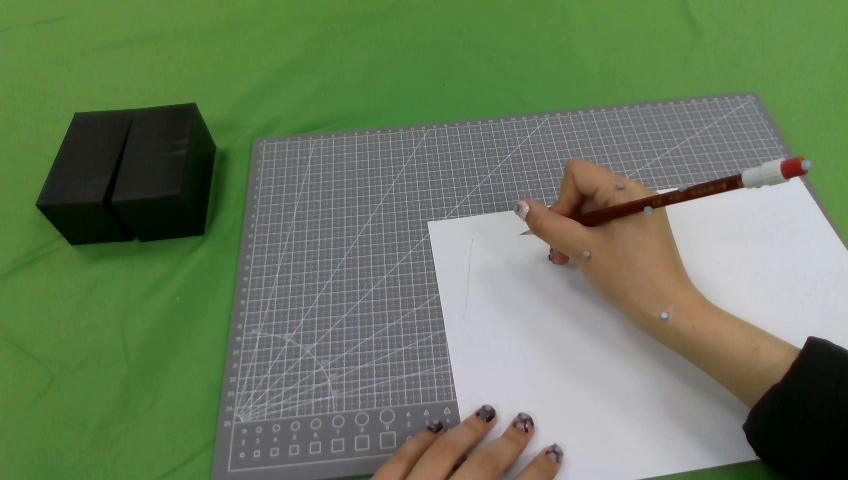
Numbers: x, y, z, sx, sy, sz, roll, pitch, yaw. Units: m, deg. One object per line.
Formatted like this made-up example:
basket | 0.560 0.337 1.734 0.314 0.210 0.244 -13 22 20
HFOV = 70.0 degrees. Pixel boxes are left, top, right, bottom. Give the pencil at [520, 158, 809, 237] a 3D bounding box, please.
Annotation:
pencil | 0.125 -0.019 0.362 0.012 0.193 0.012 8 76 -34
